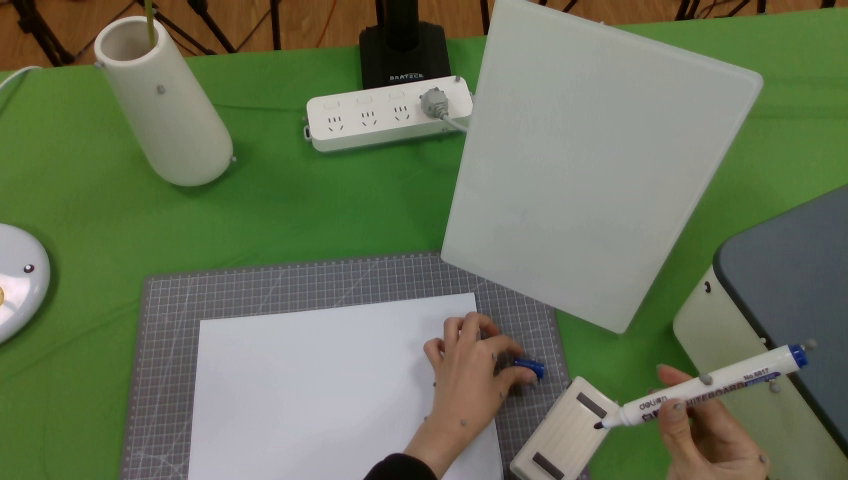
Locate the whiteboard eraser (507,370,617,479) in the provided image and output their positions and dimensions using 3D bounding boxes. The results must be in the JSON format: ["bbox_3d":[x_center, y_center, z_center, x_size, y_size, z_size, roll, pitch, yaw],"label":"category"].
[{"bbox_3d":[0.134,0.183,0.581,0.055,0.042,0.112,37,68,18],"label":"whiteboard eraser"}]

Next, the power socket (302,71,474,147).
[{"bbox_3d":[-0.044,-0.168,0.776,0.227,0.033,0.071,-10,63,-6],"label":"power socket"}]

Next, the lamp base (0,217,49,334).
[{"bbox_3d":[-0.508,0.003,0.600,0.178,0.182,0.160,24,64,16],"label":"lamp base"}]

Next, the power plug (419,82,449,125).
[{"bbox_3d":[0.011,-0.162,0.747,0.035,0.053,0.072,-1,68,0],"label":"power plug"}]

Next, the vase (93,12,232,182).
[{"bbox_3d":[-0.286,-0.151,0.672,0.098,0.201,0.097,-1,61,1],"label":"vase"}]

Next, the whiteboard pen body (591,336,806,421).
[{"bbox_3d":[0.170,0.094,0.390,0.140,0.017,0.017,-31,58,28],"label":"whiteboard pen body"}]

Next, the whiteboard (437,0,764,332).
[{"bbox_3d":[0.162,-0.090,0.616,0.216,0.308,0.143,23,43,13],"label":"whiteboard"}]

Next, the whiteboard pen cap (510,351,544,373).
[{"bbox_3d":[0.106,0.126,0.626,0.033,0.018,0.018,13,62,2],"label":"whiteboard pen cap"}]

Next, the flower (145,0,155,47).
[{"bbox_3d":[-0.266,-0.185,0.598,0.038,0.362,0.044,43,60,2],"label":"flower"}]

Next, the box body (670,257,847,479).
[{"bbox_3d":[0.432,0.139,0.540,0.254,0.161,0.360,-22,64,-11],"label":"box body"}]

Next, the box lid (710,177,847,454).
[{"bbox_3d":[0.430,0.101,0.475,0.263,0.015,0.368,-22,64,-11],"label":"box lid"}]
